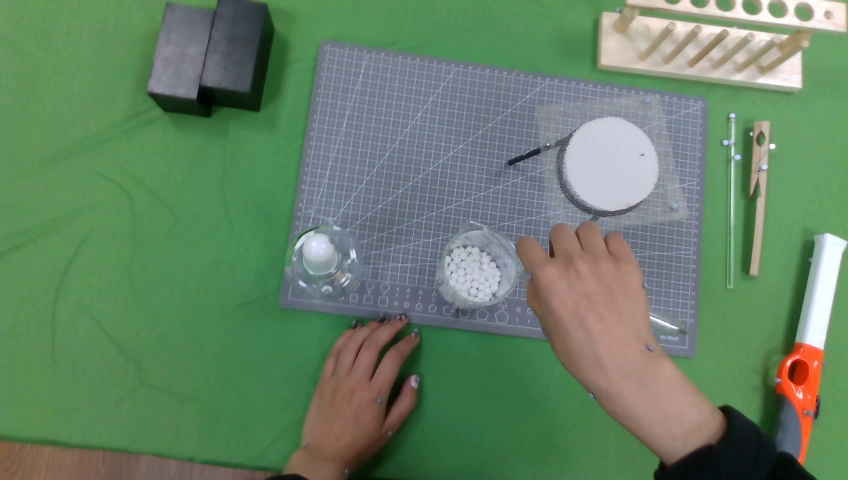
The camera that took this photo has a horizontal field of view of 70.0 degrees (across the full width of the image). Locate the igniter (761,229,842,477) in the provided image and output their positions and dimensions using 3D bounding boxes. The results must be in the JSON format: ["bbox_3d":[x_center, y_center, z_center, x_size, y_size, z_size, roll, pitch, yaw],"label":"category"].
[{"bbox_3d":[0.412,0.121,0.659,0.057,0.025,0.275,20,80,-11],"label":"igniter"}]

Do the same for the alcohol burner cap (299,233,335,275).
[{"bbox_3d":[-0.099,0.010,0.552,0.034,0.048,0.033,2,71,-6],"label":"alcohol burner cap"}]

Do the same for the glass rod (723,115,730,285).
[{"bbox_3d":[0.344,-0.048,0.690,0.008,0.008,0.199,6,80,-4],"label":"glass rod"}]

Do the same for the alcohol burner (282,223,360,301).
[{"bbox_3d":[-0.101,0.018,0.587,0.078,0.119,0.077,1,78,-4],"label":"alcohol burner"}]

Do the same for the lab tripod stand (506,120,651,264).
[{"bbox_3d":[0.153,-0.057,0.610,0.148,0.132,0.148,0,81,-2],"label":"lab tripod stand"}]

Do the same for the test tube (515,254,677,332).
[{"bbox_3d":[0.147,0.046,0.512,0.150,0.017,0.017,22,79,-7],"label":"test tube"}]

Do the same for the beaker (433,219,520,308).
[{"bbox_3d":[0.046,0.028,0.605,0.074,0.100,0.083,-14,81,-7],"label":"beaker"}]

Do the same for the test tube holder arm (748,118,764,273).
[{"bbox_3d":[0.377,-0.051,0.686,0.013,0.015,0.178,1,79,30],"label":"test tube holder arm"}]

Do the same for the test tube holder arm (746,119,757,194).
[{"bbox_3d":[0.377,-0.096,0.696,0.010,0.015,0.087,1,79,30],"label":"test tube holder arm"}]

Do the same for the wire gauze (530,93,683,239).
[{"bbox_3d":[0.162,-0.070,0.544,0.121,0.011,0.124,-7,82,-4],"label":"wire gauze"}]

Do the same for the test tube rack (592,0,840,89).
[{"bbox_3d":[0.321,-0.229,0.678,0.243,0.085,0.066,5,80,-4],"label":"test tube rack"}]
